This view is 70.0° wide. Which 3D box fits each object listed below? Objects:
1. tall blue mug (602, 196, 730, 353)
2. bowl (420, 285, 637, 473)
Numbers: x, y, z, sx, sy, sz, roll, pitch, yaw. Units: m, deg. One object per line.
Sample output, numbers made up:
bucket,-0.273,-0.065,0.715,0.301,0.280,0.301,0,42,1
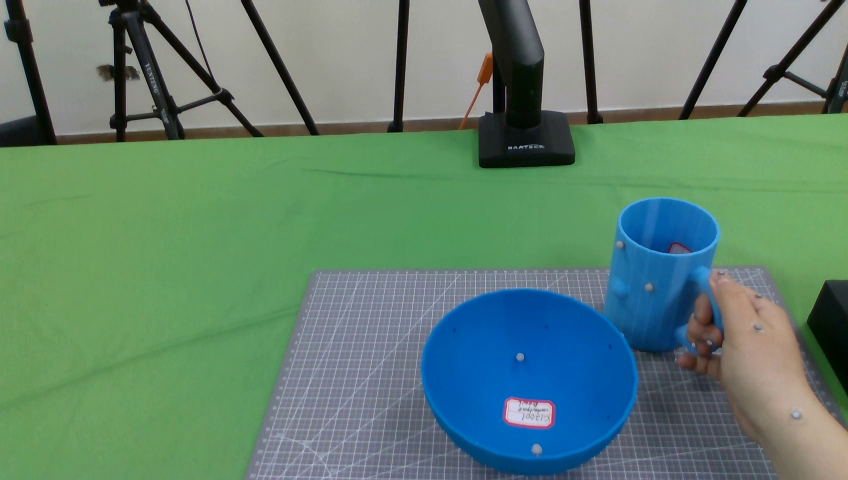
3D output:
tall blue mug,0.207,0.034,0.503,0.106,0.109,0.077,25,48,32
bowl,0.074,0.113,0.449,0.151,0.077,0.150,-3,40,3
